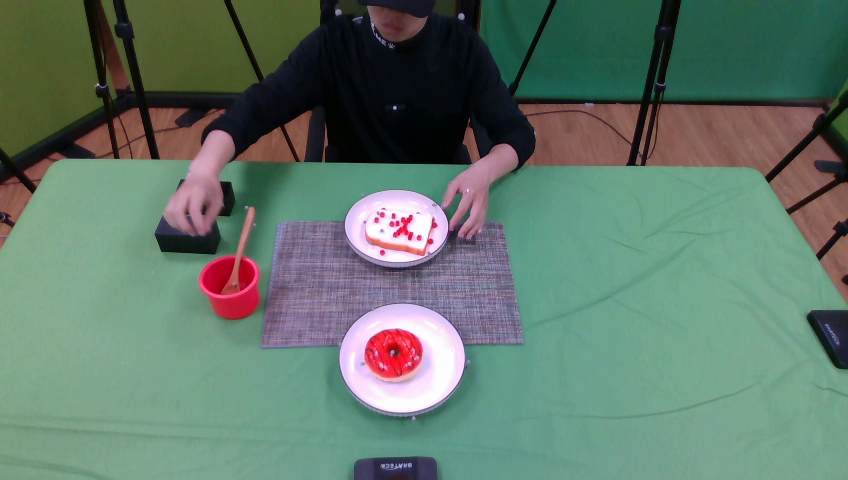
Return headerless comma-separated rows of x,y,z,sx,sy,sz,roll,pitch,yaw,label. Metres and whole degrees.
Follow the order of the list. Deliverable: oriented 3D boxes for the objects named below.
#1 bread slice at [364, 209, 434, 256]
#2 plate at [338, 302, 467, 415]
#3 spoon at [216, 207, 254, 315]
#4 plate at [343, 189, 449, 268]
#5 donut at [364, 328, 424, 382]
-0.053,-0.020,1.199,0.131,0.019,0.104,10,46,4,bread slice
-0.035,0.194,0.992,0.208,0.039,0.206,2,48,-2,plate
-0.323,0.036,1.053,0.041,0.021,0.193,14,90,11,spoon
-0.055,-0.019,1.195,0.209,0.038,0.208,3,46,-2,plate
-0.049,0.185,0.984,0.099,0.048,0.098,1,45,-1,donut
